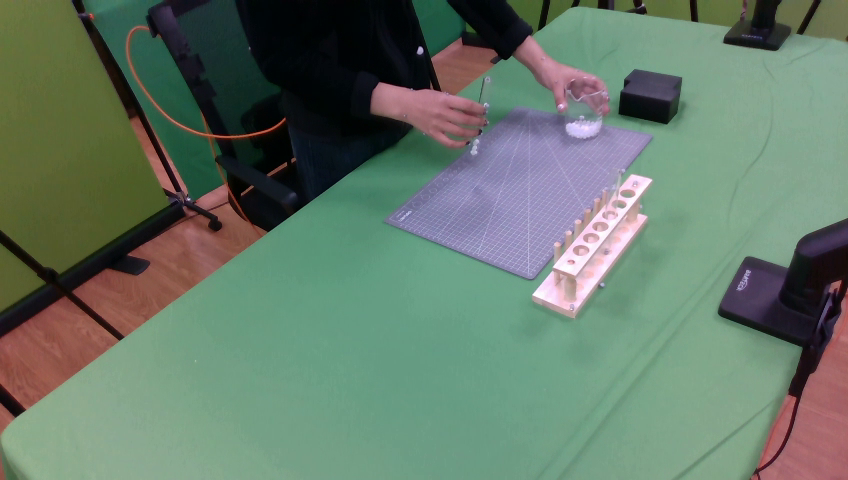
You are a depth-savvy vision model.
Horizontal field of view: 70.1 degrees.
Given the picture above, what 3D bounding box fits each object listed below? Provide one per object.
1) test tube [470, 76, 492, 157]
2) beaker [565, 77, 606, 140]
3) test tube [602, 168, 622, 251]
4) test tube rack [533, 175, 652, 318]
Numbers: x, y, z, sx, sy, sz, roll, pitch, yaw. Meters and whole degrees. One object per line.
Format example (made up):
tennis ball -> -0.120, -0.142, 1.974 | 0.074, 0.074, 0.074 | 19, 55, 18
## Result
test tube -> 0.098, -0.211, 1.046 | 0.017, 0.151, 0.017 | 6, 36, -4
beaker -> 0.305, -0.247, 1.153 | 0.073, 0.101, 0.084 | 15, 47, 27
test tube -> 0.264, -0.039, 0.853 | 0.017, 0.151, 0.017 | -5, 44, 6
test tube rack -> 0.251, -0.001, 0.888 | 0.066, 0.085, 0.243 | 22, 49, 33
